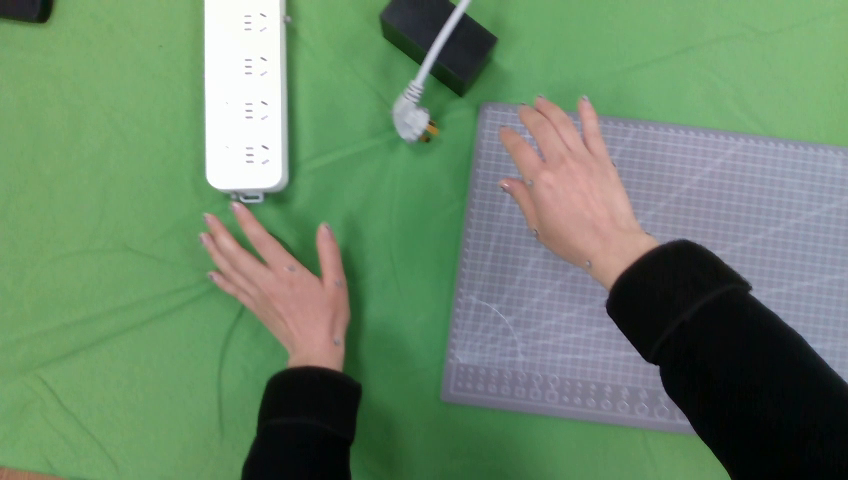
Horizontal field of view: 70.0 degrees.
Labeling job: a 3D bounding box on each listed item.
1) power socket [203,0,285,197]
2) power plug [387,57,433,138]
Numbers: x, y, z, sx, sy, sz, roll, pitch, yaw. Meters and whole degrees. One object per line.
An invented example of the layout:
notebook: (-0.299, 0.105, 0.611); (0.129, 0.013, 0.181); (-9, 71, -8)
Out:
power socket: (-0.173, -0.156, 0.583); (0.072, 0.032, 0.226); (-1, 88, -1)
power plug: (-0.003, -0.127, 0.570); (0.053, 0.035, 0.072); (25, 133, -32)
